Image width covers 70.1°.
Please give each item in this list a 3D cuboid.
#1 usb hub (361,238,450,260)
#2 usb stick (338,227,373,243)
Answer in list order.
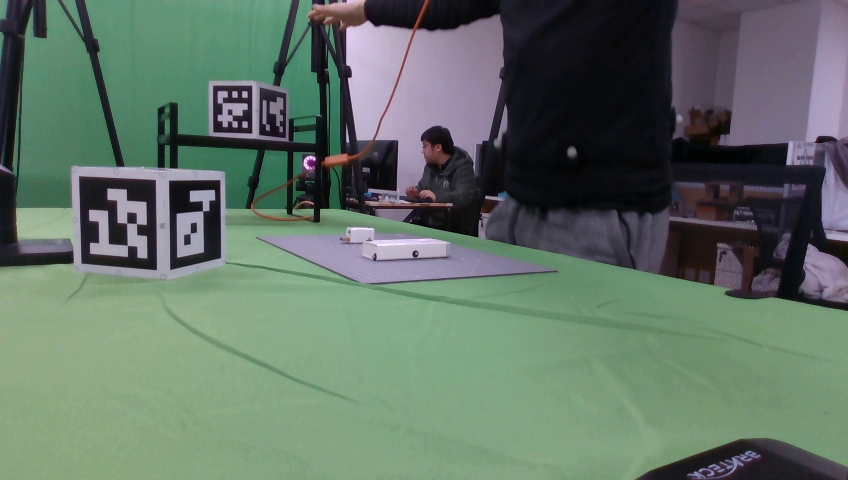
[{"bbox_3d":[-0.026,0.013,0.894,0.126,0.025,0.049,-2,7,-31],"label":"usb hub"},{"bbox_3d":[-0.118,-0.009,1.030,0.059,0.027,0.021,-3,11,-30],"label":"usb stick"}]
